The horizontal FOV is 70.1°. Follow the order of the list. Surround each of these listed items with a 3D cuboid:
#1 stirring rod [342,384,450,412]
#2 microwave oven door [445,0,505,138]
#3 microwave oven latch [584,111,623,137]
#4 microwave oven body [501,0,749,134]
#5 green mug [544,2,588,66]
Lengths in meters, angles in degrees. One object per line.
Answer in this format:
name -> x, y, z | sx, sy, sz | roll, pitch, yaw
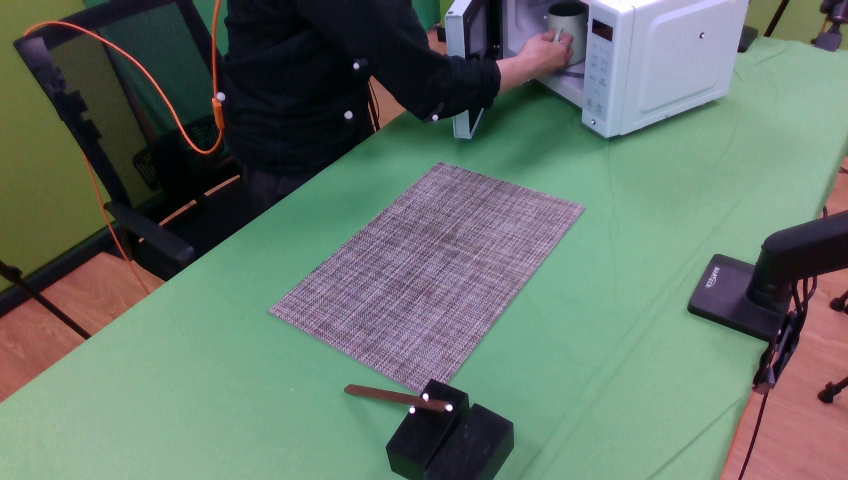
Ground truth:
stirring rod -> -0.038, 0.186, 0.714 | 0.175, 0.006, 0.014 | -3, 22, 43
microwave oven door -> 0.112, -0.405, 1.230 | 0.039, 0.245, 0.355 | 6, 43, 16
microwave oven latch -> 0.337, -0.222, 1.142 | 0.030, 0.029, 0.078 | -21, 42, -14
microwave oven body -> 0.382, -0.444, 1.246 | 0.327, 0.261, 0.437 | -22, 42, -16
green mug -> 0.287, -0.414, 1.241 | 0.092, 0.105, 0.125 | 13, 48, 25
